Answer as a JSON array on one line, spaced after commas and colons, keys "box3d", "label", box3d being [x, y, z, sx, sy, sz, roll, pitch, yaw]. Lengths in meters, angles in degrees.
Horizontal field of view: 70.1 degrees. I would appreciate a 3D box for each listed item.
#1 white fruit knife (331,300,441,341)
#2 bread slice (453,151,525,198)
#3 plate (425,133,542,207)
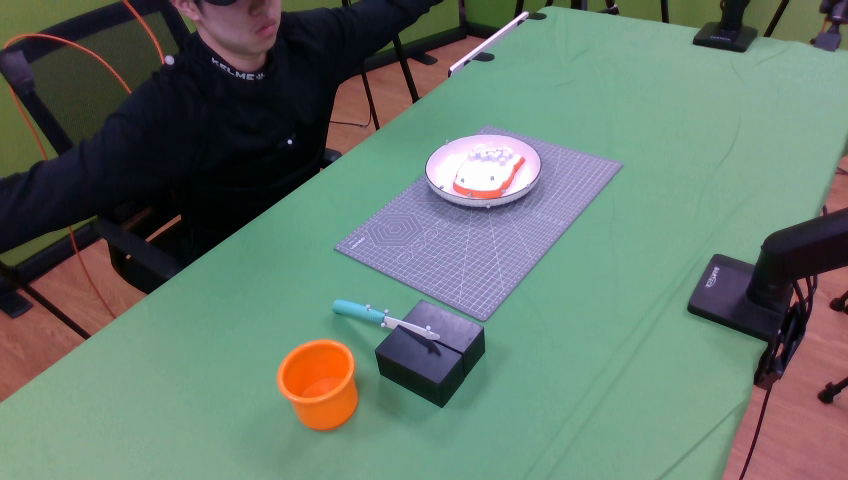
[{"box3d": [-0.056, 0.107, 0.807, 0.205, 0.027, 0.016, 9, 42, 40], "label": "white fruit knife"}, {"box3d": [0.112, -0.118, 1.079, 0.104, 0.019, 0.131, 11, 42, 22], "label": "bread slice"}, {"box3d": [0.106, -0.121, 1.079, 0.209, 0.038, 0.208, -4, 41, 4], "label": "plate"}]
